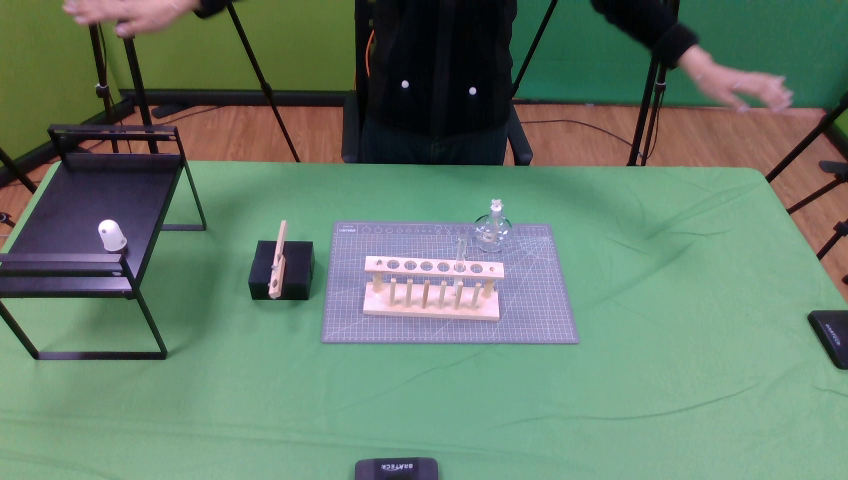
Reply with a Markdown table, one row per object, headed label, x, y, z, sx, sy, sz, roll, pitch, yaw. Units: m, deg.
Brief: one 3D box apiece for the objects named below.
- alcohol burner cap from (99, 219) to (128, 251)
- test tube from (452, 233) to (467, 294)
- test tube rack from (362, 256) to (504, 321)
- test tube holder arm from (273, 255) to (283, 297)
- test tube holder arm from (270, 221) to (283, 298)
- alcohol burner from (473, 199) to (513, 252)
| label | x | y | z | sx | sy | sz | roll | pitch | yaw |
| --- | --- | --- | --- | --- | --- | --- | --- | --- | --- |
| alcohol burner cap | -0.466 | -0.010 | 0.907 | 0.034 | 0.048 | 0.033 | 1 | 47 | -1 |
| test tube | 0.061 | 0.045 | 1.044 | 0.017 | 0.151 | 0.017 | 1 | 47 | -1 |
| test tube rack | 0.015 | 0.085 | 1.069 | 0.242 | 0.085 | 0.066 | 3 | 45 | -2 |
| test tube holder arm | -0.253 | 0.062 | 1.055 | 0.010 | 0.015 | 0.087 | -5 | 46 | -3 |
| test tube holder arm | -0.264 | 0.031 | 1.086 | 0.013 | 0.015 | 0.177 | -6 | 46 | -4 |
| alcohol burner | 0.135 | -0.034 | 1.174 | 0.078 | 0.120 | 0.077 | 1 | 47 | -1 |
